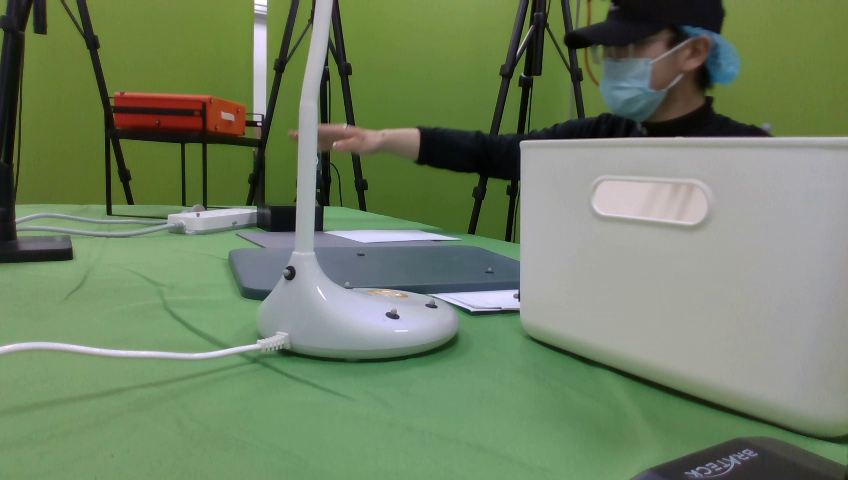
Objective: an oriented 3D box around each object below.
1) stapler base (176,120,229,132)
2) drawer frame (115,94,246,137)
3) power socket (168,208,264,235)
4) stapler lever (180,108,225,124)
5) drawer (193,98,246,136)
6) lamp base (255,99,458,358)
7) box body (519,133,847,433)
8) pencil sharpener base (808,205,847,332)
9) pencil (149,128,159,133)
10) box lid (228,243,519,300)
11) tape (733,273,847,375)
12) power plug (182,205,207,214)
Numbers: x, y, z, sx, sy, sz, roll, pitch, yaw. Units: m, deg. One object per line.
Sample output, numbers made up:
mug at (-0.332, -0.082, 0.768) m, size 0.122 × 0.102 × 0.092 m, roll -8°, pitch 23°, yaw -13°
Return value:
stapler base at (-0.496, -0.257, 1.364) m, size 0.041 × 0.024 × 0.131 m, roll 2°, pitch 9°, yaw 22°
drawer frame at (-0.543, -0.281, 1.374) m, size 0.213 × 0.082 × 0.201 m, roll 2°, pitch 8°, yaw 4°
power socket at (-0.381, -0.038, 1.129) m, size 0.072 × 0.032 × 0.227 m, roll 4°, pitch 8°, yaw 17°
stapler lever at (-0.496, -0.281, 1.359) m, size 0.027 × 0.040 × 0.118 m, roll 2°, pitch 7°, yaw 22°
drawer at (-0.539, -0.279, 1.374) m, size 0.212 × 0.073 × 0.194 m, roll 2°, pitch 8°, yaw 5°
lamp base at (-0.056, -0.013, 0.462) m, size 0.160 × 0.180 × 0.180 m, roll 6°, pitch 11°, yaw 27°
box body at (0.279, 0.005, 0.485) m, size 0.366 × 0.160 × 0.253 m, roll -3°, pitch 9°, yaw -36°
pencil sharpener base at (0.386, 0.026, 0.519) m, size 0.062 × 0.107 × 0.076 m, roll -5°, pitch 11°, yaw -43°
pencil at (-0.528, -0.258, 1.360) m, size 0.012 × 0.012 × 0.195 m, roll 8°, pitch 20°, yaw 35°
box lid at (-0.044, 0.033, 0.757) m, size 0.373 × 0.015 × 0.262 m, roll -1°, pitch 9°, yaw -22°
tape at (0.295, 0.059, 0.455) m, size 0.117 × 0.052 × 0.117 m, roll 2°, pitch 7°, yaw 0°
power plug at (-0.455, -0.041, 1.196) m, size 0.052 × 0.035 × 0.072 m, roll 1°, pitch 41°, yaw 23°
